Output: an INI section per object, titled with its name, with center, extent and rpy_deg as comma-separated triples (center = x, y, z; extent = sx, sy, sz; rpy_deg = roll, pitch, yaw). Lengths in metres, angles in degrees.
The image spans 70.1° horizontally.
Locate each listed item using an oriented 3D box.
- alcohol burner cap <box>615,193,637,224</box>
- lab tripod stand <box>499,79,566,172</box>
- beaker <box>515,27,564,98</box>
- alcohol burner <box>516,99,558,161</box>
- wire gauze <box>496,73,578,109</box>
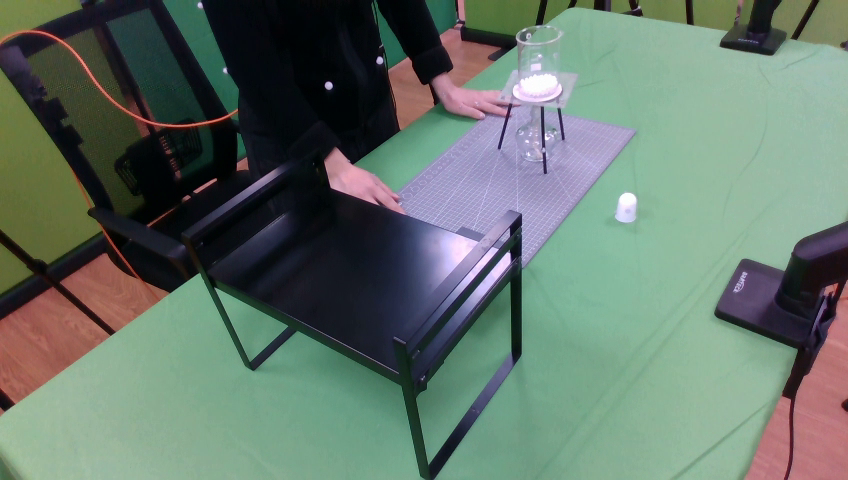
[alcohol burner cap]
center = 0.327, -0.054, 0.974
extent = 0.034, 0.048, 0.033
rpy_deg = -4, 38, 4
[lab tripod stand]
center = 0.204, -0.215, 1.107
extent = 0.148, 0.132, 0.147
rpy_deg = -6, 41, 5
[beaker]
center = 0.198, -0.302, 1.033
extent = 0.084, 0.101, 0.073
rpy_deg = -14, 40, -6
[alcohol burner]
center = 0.208, -0.206, 1.110
extent = 0.078, 0.119, 0.077
rpy_deg = -3, 41, 3
[wire gauze]
center = 0.200, -0.266, 1.066
extent = 0.124, 0.011, 0.121
rpy_deg = 8, 41, 23
